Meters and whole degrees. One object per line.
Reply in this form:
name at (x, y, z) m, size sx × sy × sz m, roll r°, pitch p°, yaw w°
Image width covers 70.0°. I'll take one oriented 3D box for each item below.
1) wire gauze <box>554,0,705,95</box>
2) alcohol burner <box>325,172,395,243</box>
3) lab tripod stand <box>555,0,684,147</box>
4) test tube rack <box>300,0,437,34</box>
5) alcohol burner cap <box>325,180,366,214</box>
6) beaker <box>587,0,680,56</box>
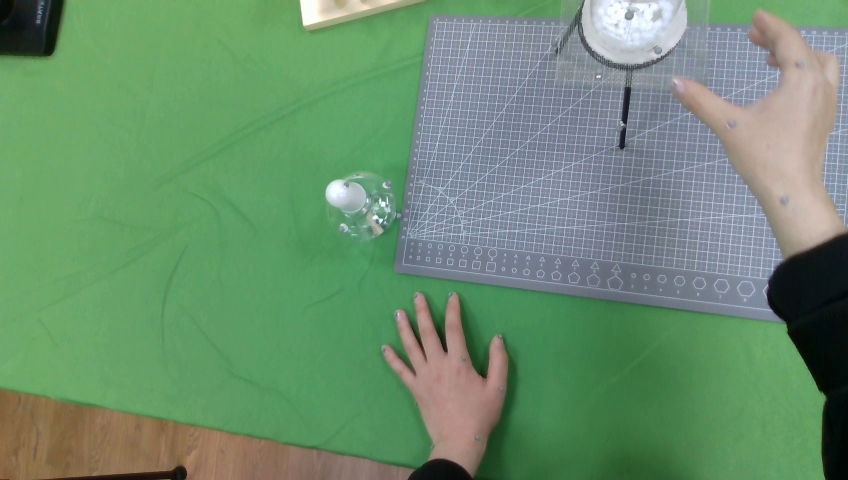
wire gauze at (0.178, -0.188, 0.519) m, size 0.125 × 0.011 × 0.121 m, roll 6°, pitch 87°, yaw 11°
alcohol burner at (-0.072, -0.038, 0.635) m, size 0.078 × 0.120 × 0.077 m, roll -2°, pitch 80°, yaw 11°
lab tripod stand at (0.192, -0.178, 0.582) m, size 0.148 × 0.132 × 0.148 m, roll -1°, pitch 84°, yaw 11°
test tube rack at (-0.039, -0.309, 0.678) m, size 0.242 × 0.085 × 0.066 m, roll -11°, pitch 80°, yaw 11°
alcohol burner cap at (-0.081, -0.044, 0.601) m, size 0.034 × 0.048 × 0.034 m, roll -1°, pitch 86°, yaw 12°
beaker at (0.162, -0.196, 0.473) m, size 0.083 × 0.101 × 0.074 m, roll 20°, pitch 88°, yaw 15°
